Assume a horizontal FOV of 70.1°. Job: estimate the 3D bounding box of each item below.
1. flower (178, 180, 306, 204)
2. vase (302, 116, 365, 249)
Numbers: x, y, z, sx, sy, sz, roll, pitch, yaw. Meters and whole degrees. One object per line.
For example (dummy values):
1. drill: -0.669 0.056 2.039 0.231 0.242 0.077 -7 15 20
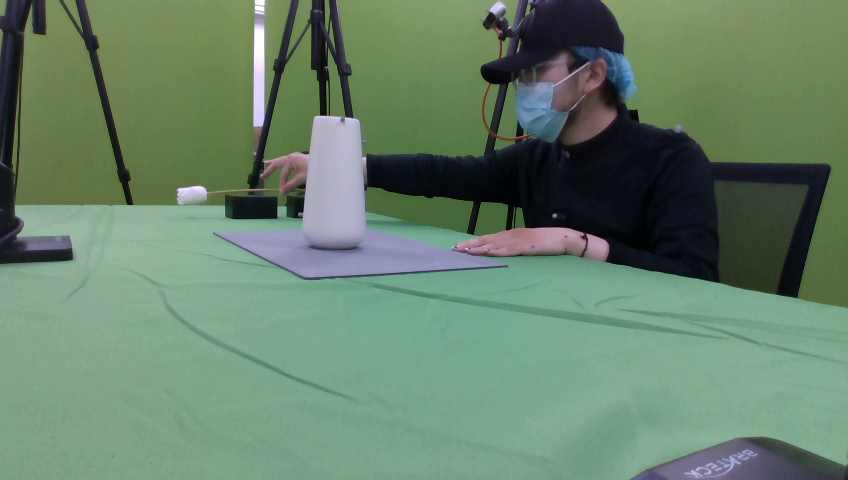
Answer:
1. flower: -0.367 -0.121 1.374 0.363 0.038 0.044 -11 3 -29
2. vase: -0.139 -0.088 0.930 0.098 0.200 0.098 1 9 0
